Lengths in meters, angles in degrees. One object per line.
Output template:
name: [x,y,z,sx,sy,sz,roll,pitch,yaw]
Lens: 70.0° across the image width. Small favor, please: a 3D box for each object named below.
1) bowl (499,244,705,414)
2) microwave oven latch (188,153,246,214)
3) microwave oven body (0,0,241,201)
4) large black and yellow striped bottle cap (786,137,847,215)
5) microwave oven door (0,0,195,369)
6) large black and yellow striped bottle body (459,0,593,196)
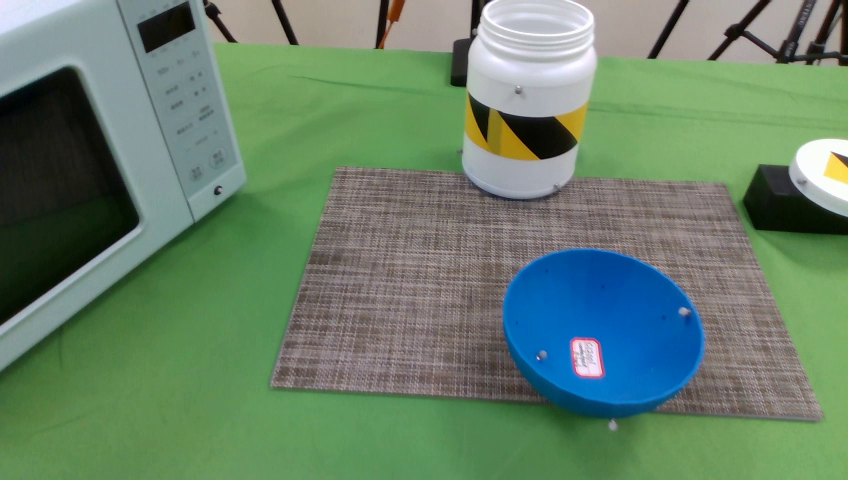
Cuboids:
bowl: [0.133,0.083,0.486,0.151,0.077,0.150,0,45,0]
microwave oven latch: [-0.223,-0.063,0.638,0.030,0.030,0.079,26,51,22]
microwave oven body: [-0.442,-0.080,0.515,0.324,0.262,0.440,24,50,21]
large black and yellow striped bottle cap: [0.434,-0.066,0.618,0.115,0.019,0.114,0,44,1]
microwave oven door: [-0.340,-0.005,0.433,0.039,0.246,0.354,23,49,22]
large black and yellow striped bottle body: [0.107,-0.155,0.652,0.131,0.185,0.129,1,42,0]
